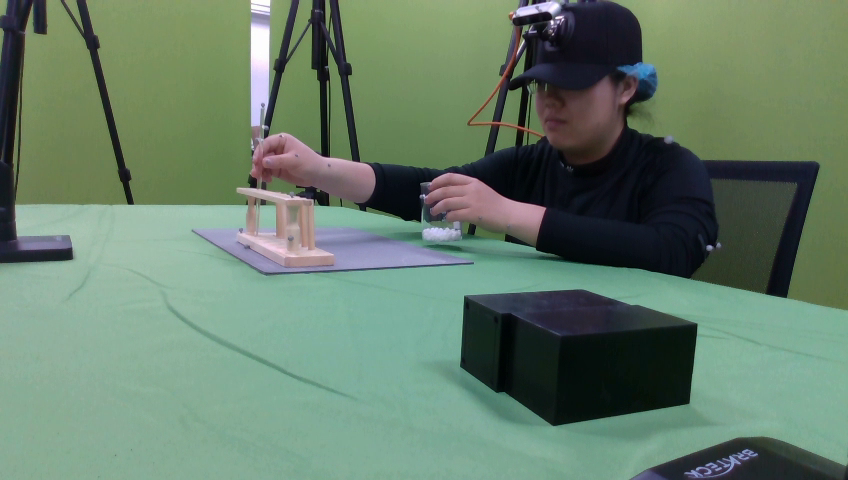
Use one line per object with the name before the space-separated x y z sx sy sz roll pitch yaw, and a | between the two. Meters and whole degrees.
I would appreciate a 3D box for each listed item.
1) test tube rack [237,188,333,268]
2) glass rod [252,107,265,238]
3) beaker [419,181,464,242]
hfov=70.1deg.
test tube rack | -0.203 -0.024 0.854 0.067 0.085 0.241 -1 8 -30
glass rod | -0.249 -0.100 0.911 0.008 0.199 0.008 5 3 0
beaker | 0.033 -0.047 1.014 0.083 0.100 0.074 2 5 41
